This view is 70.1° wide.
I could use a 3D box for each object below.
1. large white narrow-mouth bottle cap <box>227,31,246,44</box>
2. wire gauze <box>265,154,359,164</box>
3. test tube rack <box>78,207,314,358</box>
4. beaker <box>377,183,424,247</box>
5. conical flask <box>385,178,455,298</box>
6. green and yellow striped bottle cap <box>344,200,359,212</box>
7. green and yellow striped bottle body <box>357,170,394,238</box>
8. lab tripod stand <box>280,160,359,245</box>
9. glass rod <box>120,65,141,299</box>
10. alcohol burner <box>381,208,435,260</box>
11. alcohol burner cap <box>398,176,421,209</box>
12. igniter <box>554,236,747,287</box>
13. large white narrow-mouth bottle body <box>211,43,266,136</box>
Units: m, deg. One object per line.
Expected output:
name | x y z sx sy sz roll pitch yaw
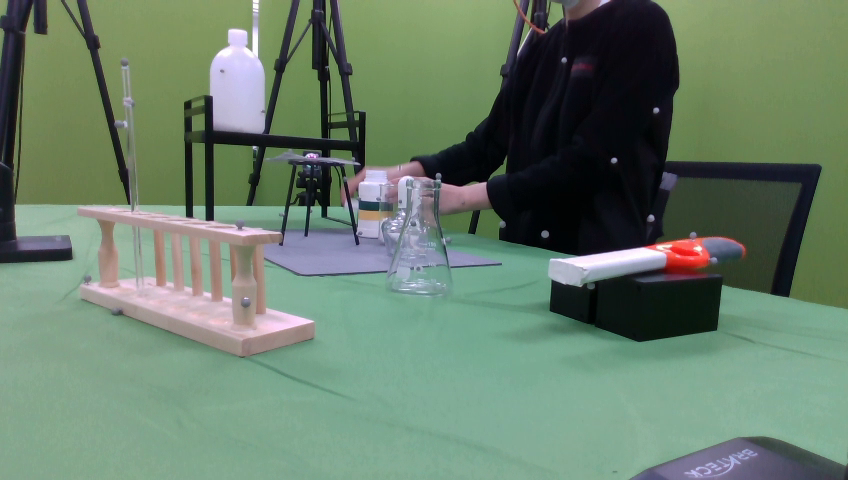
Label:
large white narrow-mouth bottle cap | -0.361 -0.388 1.165 0.038 0.024 0.037 1 7 0
wire gauze | -0.181 -0.129 0.969 0.126 0.011 0.121 -1 7 -27
test tube rack | -0.196 0.024 0.499 0.241 0.085 0.067 8 8 37
beaker | -0.038 -0.041 0.995 0.074 0.100 0.083 -5 12 -44
conical flask | -0.002 -0.004 0.639 0.075 0.122 0.075 2 7 0
green and yellow striped bottle cap | -0.131 -0.065 1.156 0.045 0.020 0.045 7 -1 0
green and yellow striped bottle body | -0.086 -0.065 1.080 0.063 0.119 0.063 3 7 0
lab tripod stand | -0.176 -0.062 0.973 0.148 0.131 0.148 1 7 0
glass rod | -0.249 -0.047 0.513 0.008 0.199 0.008 -1 4 0
alcohol burner | -0.023 -0.032 0.872 0.078 0.119 0.078 0 6 0
alcohol burner cap | -0.023 -0.068 0.866 0.034 0.048 0.034 -5 8 1
igniter | 0.221 0.017 0.558 0.278 0.025 0.057 -5 15 -39
large white narrow-mouth bottle body | -0.361 -0.302 1.176 0.102 0.194 0.102 1 7 0
